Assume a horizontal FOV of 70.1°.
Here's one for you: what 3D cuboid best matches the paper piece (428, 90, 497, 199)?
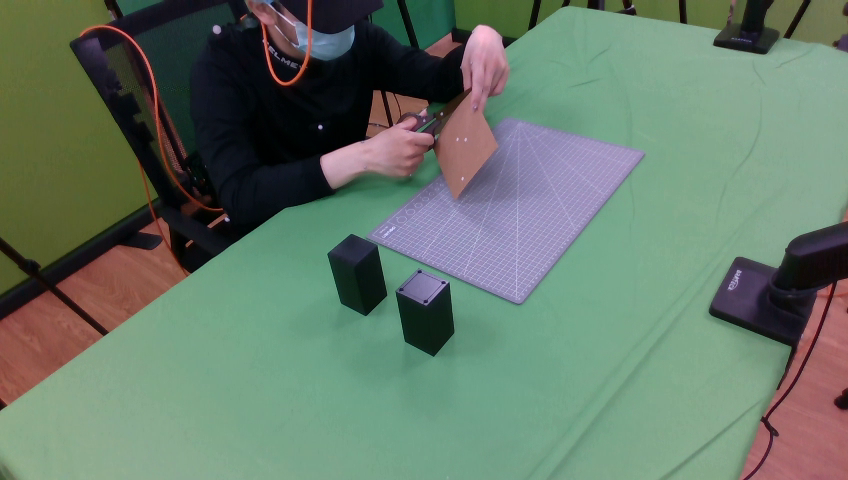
[{"bbox_3d":[0.061,-0.163,1.028,0.004,0.135,0.135,4,51,-36],"label":"paper piece"}]

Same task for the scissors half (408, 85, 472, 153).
[{"bbox_3d":[0.029,-0.213,1.067,0.040,0.174,0.013,43,38,-2],"label":"scissors half"}]

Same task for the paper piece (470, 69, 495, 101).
[{"bbox_3d":[0.076,-0.246,1.122,0.008,0.135,0.138,40,39,-1],"label":"paper piece"}]

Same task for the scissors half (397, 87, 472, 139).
[{"bbox_3d":[0.016,-0.228,1.065,0.174,0.040,0.013,-24,20,34],"label":"scissors half"}]
